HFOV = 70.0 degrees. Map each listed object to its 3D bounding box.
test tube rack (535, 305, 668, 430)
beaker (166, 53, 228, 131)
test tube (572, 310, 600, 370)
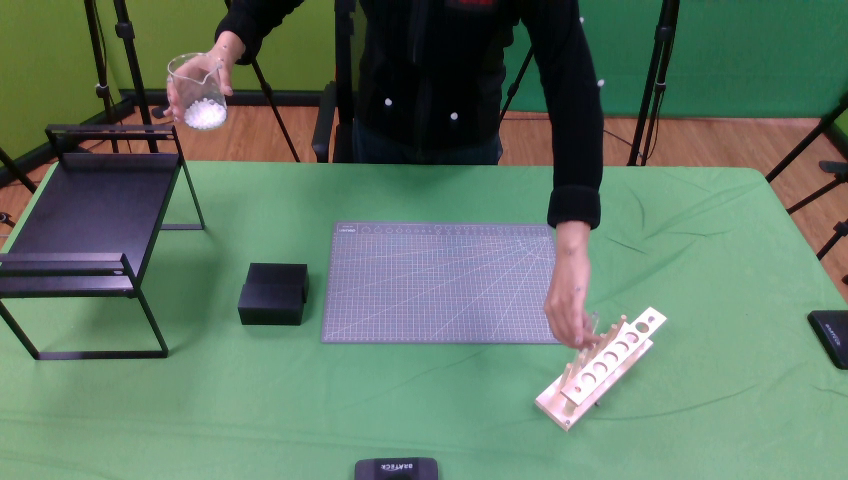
[{"bbox_3d":[0.290,0.193,0.984,0.242,0.085,0.066,-32,56,-30],"label":"test tube rack"},{"bbox_3d":[-0.349,-0.227,0.948,0.074,0.101,0.083,-21,51,-22],"label":"beaker"},{"bbox_3d":[0.244,0.153,0.916,0.017,0.151,0.017,0,48,0],"label":"test tube"}]
